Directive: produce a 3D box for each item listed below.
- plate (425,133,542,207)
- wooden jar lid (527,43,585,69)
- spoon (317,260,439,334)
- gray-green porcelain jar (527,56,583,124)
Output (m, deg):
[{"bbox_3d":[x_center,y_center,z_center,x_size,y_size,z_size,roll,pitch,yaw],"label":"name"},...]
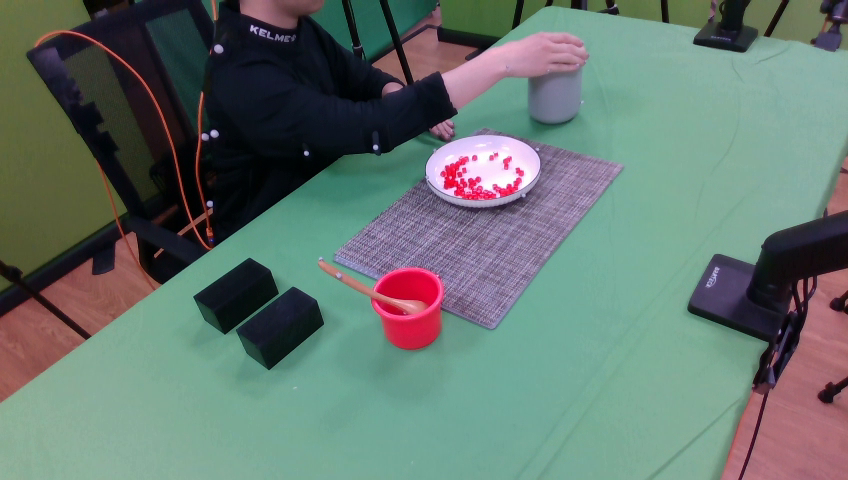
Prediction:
[{"bbox_3d":[0.106,-0.122,1.079,0.207,0.039,0.206,-4,41,4],"label":"plate"},{"bbox_3d":[0.254,-0.354,1.162,0.108,0.021,0.108,-8,33,6],"label":"wooden jar lid"},{"bbox_3d":[-0.056,0.074,0.788,0.195,0.021,0.041,27,42,-21],"label":"spoon"},{"bbox_3d":[0.260,-0.305,1.207,0.106,0.127,0.105,-4,41,4],"label":"gray-green porcelain jar"}]
